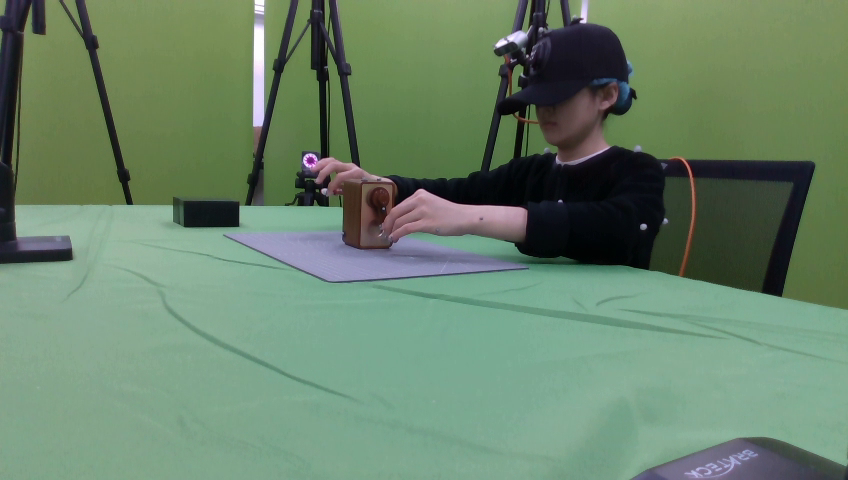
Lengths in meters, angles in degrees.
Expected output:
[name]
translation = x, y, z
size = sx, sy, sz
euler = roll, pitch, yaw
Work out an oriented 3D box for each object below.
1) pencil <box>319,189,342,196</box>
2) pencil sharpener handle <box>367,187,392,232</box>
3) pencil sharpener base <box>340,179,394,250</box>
[pencil]
translation = -0.145, -0.080, 1.050
size = 0.012, 0.012, 0.193
euler = -1, 7, -30
[pencil sharpener handle]
translation = -0.062, -0.046, 0.915
size = 0.036, 0.068, 0.030
euler = -14, 15, -27
[pencil sharpener base]
translation = -0.090, -0.041, 0.959
size = 0.061, 0.107, 0.076
euler = -1, 9, -30
